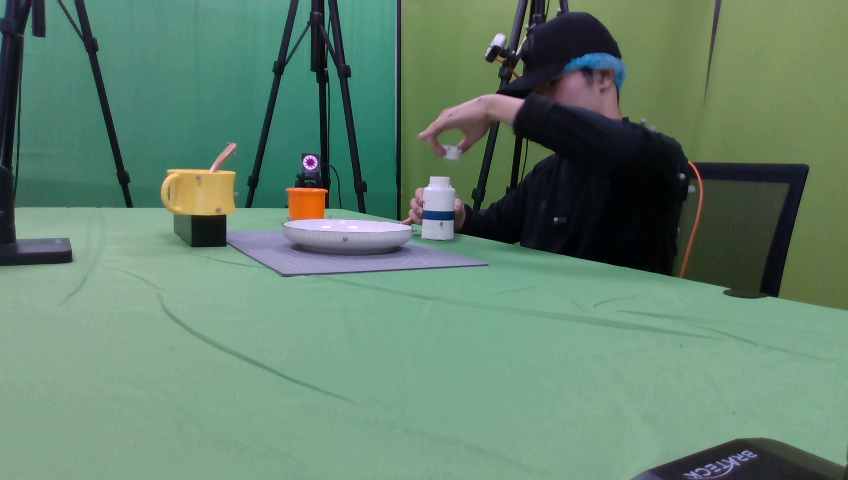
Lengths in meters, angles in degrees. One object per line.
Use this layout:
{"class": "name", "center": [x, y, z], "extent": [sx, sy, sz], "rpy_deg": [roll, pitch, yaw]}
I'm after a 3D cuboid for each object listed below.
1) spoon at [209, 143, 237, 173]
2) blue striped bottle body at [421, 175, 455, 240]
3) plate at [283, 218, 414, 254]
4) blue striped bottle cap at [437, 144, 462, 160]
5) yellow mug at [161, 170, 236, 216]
{"class": "spoon", "center": [-0.341, -0.113, 0.990], "extent": [0.041, 0.021, 0.193], "rpy_deg": [1, 40, 7]}
{"class": "blue striped bottle body", "center": [0.027, -0.063, 1.157], "extent": [0.063, 0.120, 0.063], "rpy_deg": [2, 7, 0]}
{"class": "plate", "center": [-0.120, -0.007, 0.971], "extent": [0.208, 0.039, 0.207], "rpy_deg": [2, 7, 0]}
{"class": "blue striped bottle cap", "center": [0.048, -0.165, 1.130], "extent": [0.044, 0.020, 0.044], "rpy_deg": [12, 19, -4]}
{"class": "yellow mug", "center": [-0.354, -0.074, 0.935], "extent": [0.099, 0.064, 0.131], "rpy_deg": [5, 9, 21]}
